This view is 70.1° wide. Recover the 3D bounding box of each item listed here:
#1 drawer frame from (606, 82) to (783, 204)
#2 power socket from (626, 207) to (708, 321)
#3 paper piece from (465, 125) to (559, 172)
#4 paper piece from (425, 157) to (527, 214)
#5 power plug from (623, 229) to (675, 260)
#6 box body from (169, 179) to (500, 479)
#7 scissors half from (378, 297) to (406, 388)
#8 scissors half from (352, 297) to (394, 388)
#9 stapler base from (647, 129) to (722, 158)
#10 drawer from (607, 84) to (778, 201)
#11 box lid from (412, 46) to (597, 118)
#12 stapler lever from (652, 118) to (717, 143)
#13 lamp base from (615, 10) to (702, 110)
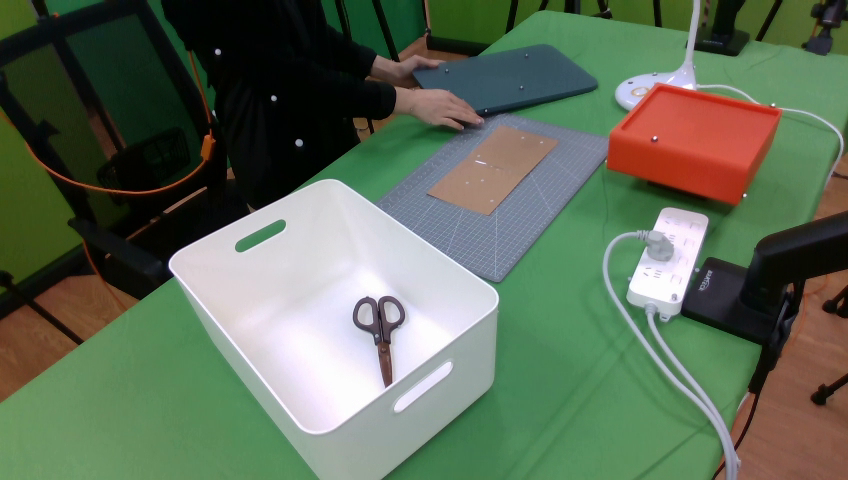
[{"bbox_3d":[0.441,-0.167,0.995,0.212,0.083,0.202,23,48,30],"label":"drawer frame"},{"bbox_3d":[0.360,0.026,0.886,0.072,0.033,0.227,16,46,26],"label":"power socket"},{"bbox_3d":[0.171,-0.177,1.168,0.137,0.009,0.136,21,44,31],"label":"paper piece"},{"bbox_3d":[0.095,-0.103,1.089,0.134,0.004,0.136,22,48,30],"label":"paper piece"},{"bbox_3d":[0.327,0.007,0.878,0.072,0.053,0.035,25,51,33],"label":"power plug"},{"bbox_3d":[-0.110,0.103,0.761,0.255,0.161,0.361,-33,46,-27],"label":"box body"},{"bbox_3d":[-0.045,0.142,0.818,0.040,0.013,0.174,6,40,-6],"label":"scissors half"},{"bbox_3d":[-0.065,0.142,0.815,0.040,0.013,0.174,-10,42,-15],"label":"scissors half"},{"bbox_3d":[0.439,-0.167,1.023,0.131,0.024,0.041,-17,25,-15],"label":"stapler base"},{"bbox_3d":[0.438,-0.167,0.996,0.210,0.073,0.195,23,48,30],"label":"drawer"},{"bbox_3d":[0.175,-0.366,1.376,0.373,0.015,0.261,-14,40,-13],"label":"box lid"},{"bbox_3d":[0.436,-0.192,1.014,0.118,0.040,0.026,-15,24,-16],"label":"stapler lever"},{"bbox_3d":[0.484,-0.364,1.211,0.180,0.181,0.159,-15,41,-14],"label":"lamp base"}]
